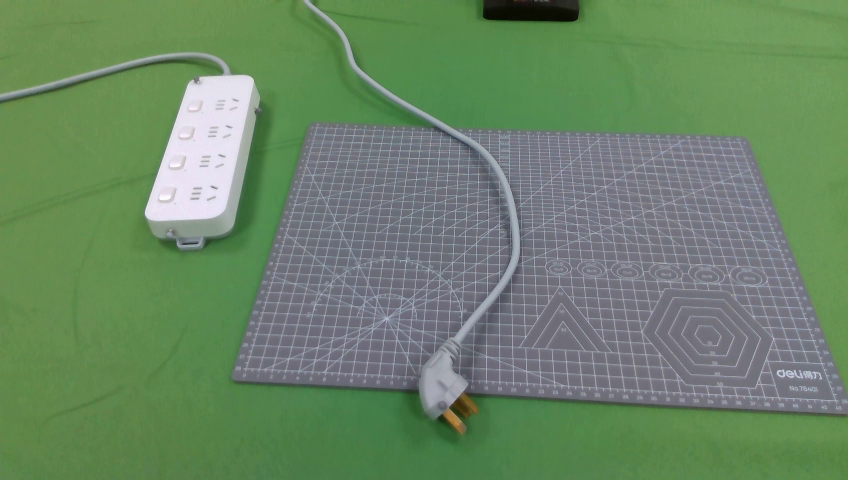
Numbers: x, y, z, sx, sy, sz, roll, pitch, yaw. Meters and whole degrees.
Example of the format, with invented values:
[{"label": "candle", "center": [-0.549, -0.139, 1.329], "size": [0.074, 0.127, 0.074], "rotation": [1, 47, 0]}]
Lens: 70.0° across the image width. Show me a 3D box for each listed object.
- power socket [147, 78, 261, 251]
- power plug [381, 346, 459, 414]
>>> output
[{"label": "power socket", "center": [-0.209, -0.086, 0.592], "size": [0.072, 0.033, 0.224], "rotation": [-2, 50, -1]}, {"label": "power plug", "center": [-0.002, 0.089, 0.423], "size": [0.035, 0.073, 0.052], "rotation": [-33, 15, -11]}]
